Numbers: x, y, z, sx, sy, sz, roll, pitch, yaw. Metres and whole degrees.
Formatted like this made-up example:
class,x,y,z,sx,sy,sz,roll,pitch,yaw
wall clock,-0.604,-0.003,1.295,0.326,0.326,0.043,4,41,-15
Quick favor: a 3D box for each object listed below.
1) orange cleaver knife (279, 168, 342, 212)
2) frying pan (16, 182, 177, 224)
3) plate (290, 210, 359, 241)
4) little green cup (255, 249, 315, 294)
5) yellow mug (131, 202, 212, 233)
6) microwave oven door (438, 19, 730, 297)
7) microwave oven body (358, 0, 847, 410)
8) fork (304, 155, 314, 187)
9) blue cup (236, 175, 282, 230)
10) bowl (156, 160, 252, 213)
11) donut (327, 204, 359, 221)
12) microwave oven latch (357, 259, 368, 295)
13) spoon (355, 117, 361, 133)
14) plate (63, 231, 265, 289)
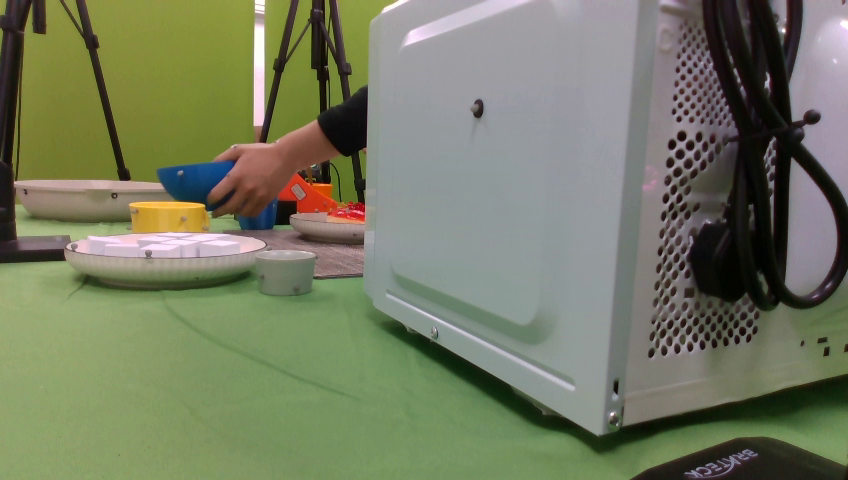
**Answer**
class,x,y,z,sx,sy,sz,roll,pitch,yaw
orange cleaver knife,-0.237,-0.084,1.332,0.212,0.077,0.012,31,-9,-31
frying pan,-0.553,-0.097,1.265,0.490,0.102,0.305,-10,13,-24
plate,-0.127,-0.025,1.051,0.209,0.038,0.209,2,7,0
little green cup,-0.144,0.032,0.627,0.061,0.038,0.061,3,6,0
yellow mug,-0.356,-0.021,0.878,0.099,0.064,0.131,6,8,21
microwave oven door,0.181,-0.076,0.618,0.358,0.243,0.039,-2,8,-28
microwave oven body,0.210,-0.051,0.471,0.444,0.260,0.324,-1,7,-28
fork,-0.268,-0.134,1.446,0.028,0.018,0.207,2,-36,-1
blue cup,-0.314,-0.071,1.141,0.093,0.100,0.092,0,7,0
bowl,-0.358,-0.086,1.006,0.151,0.077,0.151,-6,8,1
donut,-0.120,-0.037,1.055,0.099,0.048,0.099,5,6,0
microwave oven latch,-0.019,0.031,0.529,0.079,0.029,0.030,-1,7,-26
spoon,-0.117,-0.187,1.295,0.042,0.193,0.021,-5,-22,-27
plate,-0.288,0.021,0.687,0.208,0.039,0.207,2,8,0
